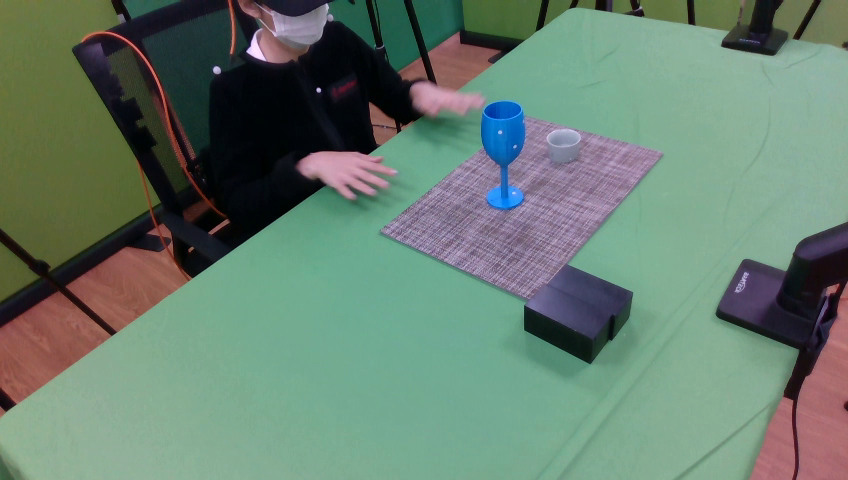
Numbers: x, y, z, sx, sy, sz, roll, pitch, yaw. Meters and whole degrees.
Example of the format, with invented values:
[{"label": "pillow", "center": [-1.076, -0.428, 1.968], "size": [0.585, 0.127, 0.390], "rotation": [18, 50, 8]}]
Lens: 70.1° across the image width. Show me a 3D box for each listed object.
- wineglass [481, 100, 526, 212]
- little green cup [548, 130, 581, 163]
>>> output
[{"label": "wineglass", "center": [0.132, -0.137, 0.993], "size": [0.074, 0.173, 0.073], "rotation": [-5, 40, 4]}, {"label": "little green cup", "center": [0.259, -0.173, 1.120], "size": [0.061, 0.039, 0.061], "rotation": [-4, 40, 4]}]
